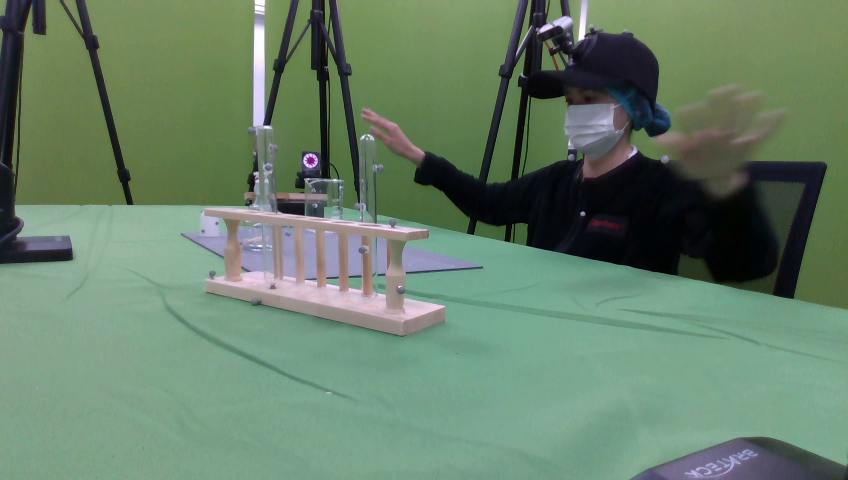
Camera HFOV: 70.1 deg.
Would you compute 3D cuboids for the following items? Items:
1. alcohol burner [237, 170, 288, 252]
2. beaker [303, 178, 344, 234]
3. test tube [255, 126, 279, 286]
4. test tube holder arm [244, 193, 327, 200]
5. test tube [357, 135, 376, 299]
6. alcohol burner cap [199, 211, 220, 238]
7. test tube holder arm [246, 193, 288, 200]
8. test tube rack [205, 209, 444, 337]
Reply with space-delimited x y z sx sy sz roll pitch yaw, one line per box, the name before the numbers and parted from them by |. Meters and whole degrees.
alcohol burner | -0.236 -0.042 0.882 0.078 0.119 0.078 2 9 0
beaker | -0.189 -0.063 1.119 0.073 0.100 0.084 6 9 28
test tube | -0.147 -0.031 0.567 0.017 0.150 0.017 -1 8 0
test tube holder arm | -0.285 -0.090 1.258 0.179 0.015 0.013 -3 1 -37
test tube | -0.053 -0.020 0.552 0.017 0.150 0.017 0 8 0
alcohol burner cap | -0.356 -0.027 1.002 0.034 0.048 0.034 2 7 0
test tube holder arm | -0.317 -0.088 1.226 0.088 0.015 0.010 -3 1 -37
test tube rack | -0.100 0.021 0.565 0.241 0.085 0.067 7 8 32
